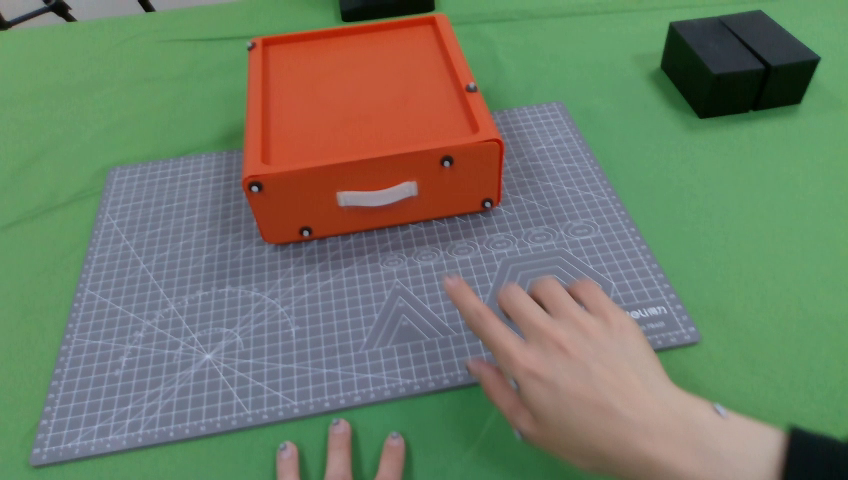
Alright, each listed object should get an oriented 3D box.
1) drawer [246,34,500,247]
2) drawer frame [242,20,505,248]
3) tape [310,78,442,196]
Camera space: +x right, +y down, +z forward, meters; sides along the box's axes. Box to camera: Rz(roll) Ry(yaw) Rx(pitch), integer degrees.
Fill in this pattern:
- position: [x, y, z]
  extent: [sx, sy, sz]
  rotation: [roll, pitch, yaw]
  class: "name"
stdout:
- position: [-0.052, -0.101, 0.546]
  extent: [0.195, 0.074, 0.209]
  rotation: [-10, 45, -4]
  class: "drawer"
- position: [-0.052, -0.103, 0.546]
  extent: [0.202, 0.083, 0.211]
  rotation: [-10, 45, -5]
  class: "drawer frame"
- position: [-0.043, -0.096, 0.549]
  extent: [0.117, 0.053, 0.115]
  rotation: [-2, 46, 3]
  class: "tape"
